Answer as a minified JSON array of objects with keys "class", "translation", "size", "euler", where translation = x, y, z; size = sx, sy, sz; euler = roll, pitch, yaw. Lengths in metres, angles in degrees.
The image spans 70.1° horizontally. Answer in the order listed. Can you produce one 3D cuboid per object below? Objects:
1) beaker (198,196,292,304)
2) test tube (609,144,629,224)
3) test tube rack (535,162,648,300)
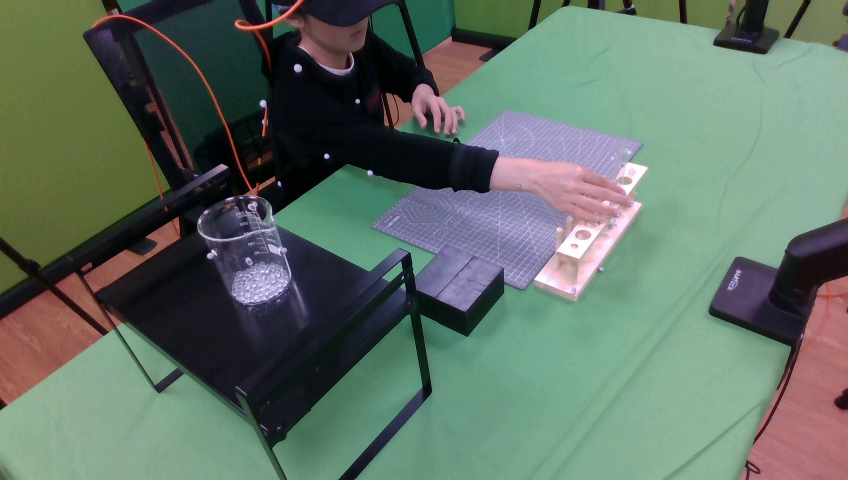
[{"class":"beaker","translation":[-0.185,0.014,0.651],"size":[0.083,0.101,0.074],"euler":[9,44,18]},{"class":"test tube","translation":[0.288,-0.079,0.898],"size":[0.017,0.151,0.017],"euler":[-5,45,5]},{"class":"test tube rack","translation":[0.257,-0.024,0.916],"size":[0.066,0.085,0.243],"euler":[22,49,30]}]
